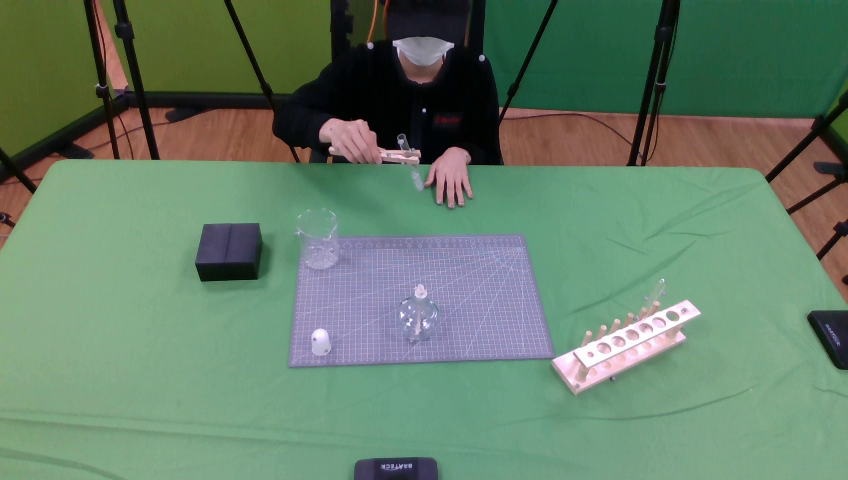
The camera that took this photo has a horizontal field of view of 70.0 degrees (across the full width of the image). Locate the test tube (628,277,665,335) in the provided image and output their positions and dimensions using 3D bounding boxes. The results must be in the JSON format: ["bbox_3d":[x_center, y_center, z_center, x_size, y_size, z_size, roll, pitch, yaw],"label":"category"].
[{"bbox_3d":[0.371,0.112,1.014,0.017,0.151,0.017,3,47,-3],"label":"test tube"}]

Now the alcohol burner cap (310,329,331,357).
[{"bbox_3d":[-0.173,0.168,1.004,0.034,0.048,0.033,2,46,-2],"label":"alcohol burner cap"}]

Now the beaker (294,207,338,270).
[{"bbox_3d":[-0.196,0.003,1.123,0.074,0.101,0.083,-23,53,-24],"label":"beaker"}]

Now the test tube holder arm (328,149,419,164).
[{"bbox_3d":[-0.095,-0.154,1.112,0.178,0.015,0.013,6,53,17],"label":"test tube holder arm"}]

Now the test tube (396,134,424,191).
[{"bbox_3d":[-0.024,-0.139,1.111,0.017,0.151,0.017,-7,56,11],"label":"test tube"}]

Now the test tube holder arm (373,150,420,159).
[{"bbox_3d":[-0.050,-0.155,1.103,0.088,0.015,0.010,1,52,13],"label":"test tube holder arm"}]

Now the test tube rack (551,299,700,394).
[{"bbox_3d":[0.339,0.166,1.021,0.242,0.085,0.066,-19,50,-21],"label":"test tube rack"}]

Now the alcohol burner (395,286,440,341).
[{"bbox_3d":[-0.010,0.116,1.018,0.078,0.119,0.077,3,47,-3],"label":"alcohol burner"}]
